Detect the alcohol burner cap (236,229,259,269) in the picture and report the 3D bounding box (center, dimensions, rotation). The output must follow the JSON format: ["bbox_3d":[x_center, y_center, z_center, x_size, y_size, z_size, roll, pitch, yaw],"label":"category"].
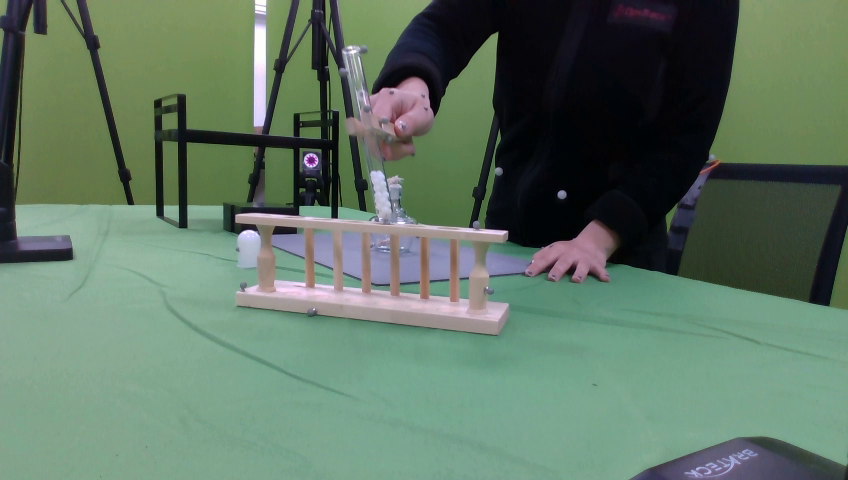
[{"bbox_3d":[-0.221,0.010,0.759,0.034,0.048,0.034,0,12,0],"label":"alcohol burner cap"}]

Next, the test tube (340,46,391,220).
[{"bbox_3d":[-0.050,-0.091,0.519,0.017,0.150,0.017,-11,2,1],"label":"test tube"}]

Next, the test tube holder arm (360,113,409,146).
[{"bbox_3d":[-0.034,-0.104,0.585,0.013,0.015,0.178,-14,2,11],"label":"test tube holder arm"}]

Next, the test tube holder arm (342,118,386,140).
[{"bbox_3d":[-0.049,-0.098,0.542,0.010,0.015,0.088,-14,2,20],"label":"test tube holder arm"}]

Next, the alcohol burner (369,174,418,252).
[{"bbox_3d":[-0.047,-0.041,0.922,0.078,0.119,0.078,1,9,0],"label":"alcohol burner"}]

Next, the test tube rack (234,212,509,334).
[{"bbox_3d":[-0.047,0.023,0.547,0.242,0.085,0.067,4,8,15],"label":"test tube rack"}]
